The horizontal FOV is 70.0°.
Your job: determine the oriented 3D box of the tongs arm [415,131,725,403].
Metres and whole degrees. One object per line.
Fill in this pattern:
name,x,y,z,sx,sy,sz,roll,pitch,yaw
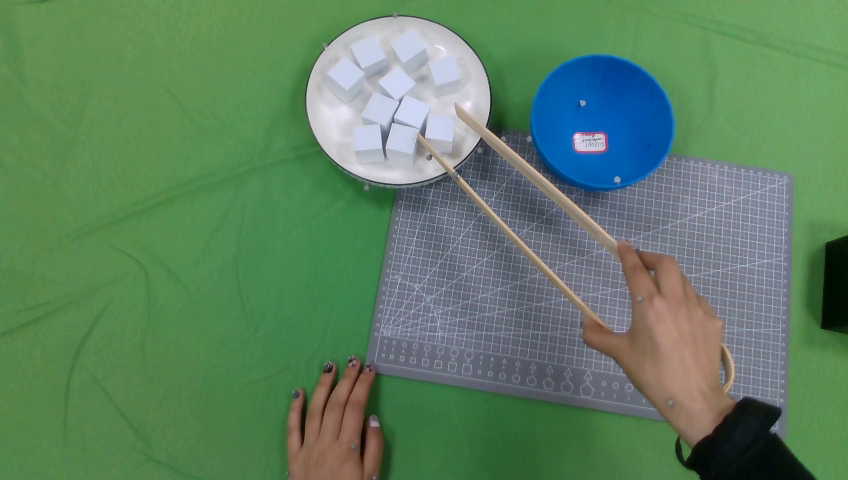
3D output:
tongs arm,0.121,0.007,0.583,0.051,0.027,0.381,-37,65,-6

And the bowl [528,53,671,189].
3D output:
bowl,0.182,-0.118,0.665,0.151,0.077,0.150,1,77,-2

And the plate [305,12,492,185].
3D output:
plate,-0.028,-0.157,0.688,0.208,0.039,0.206,0,76,-1

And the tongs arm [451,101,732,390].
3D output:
tongs arm,0.145,-0.013,0.586,0.028,0.028,0.384,-37,65,-9
